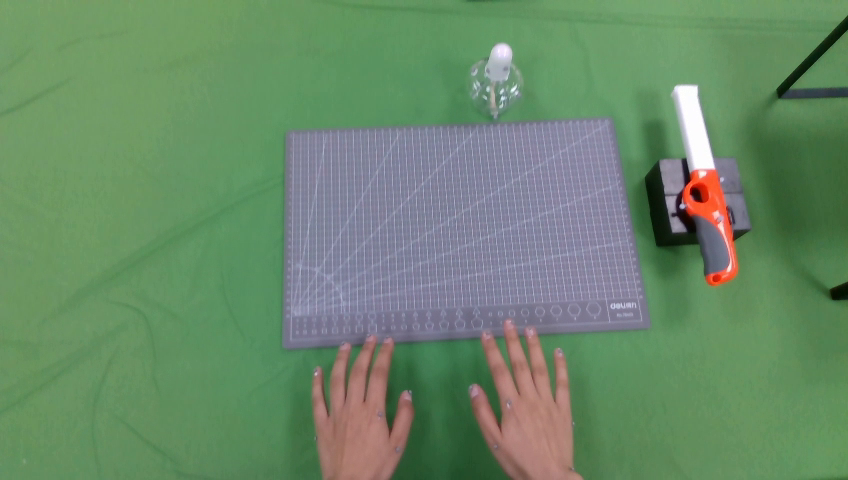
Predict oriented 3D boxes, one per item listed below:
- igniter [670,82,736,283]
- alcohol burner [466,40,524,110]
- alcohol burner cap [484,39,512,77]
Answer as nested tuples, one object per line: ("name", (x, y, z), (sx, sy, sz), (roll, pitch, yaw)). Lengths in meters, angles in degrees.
("igniter", (0.344, -0.078, 0.752), (0.057, 0.025, 0.274), (0, 68, -1))
("alcohol burner", (0.095, -0.224, 0.796), (0.078, 0.119, 0.077), (1, 72, -3))
("alcohol burner cap", (0.095, -0.233, 0.766), (0.034, 0.048, 0.033), (1, 70, -4))
